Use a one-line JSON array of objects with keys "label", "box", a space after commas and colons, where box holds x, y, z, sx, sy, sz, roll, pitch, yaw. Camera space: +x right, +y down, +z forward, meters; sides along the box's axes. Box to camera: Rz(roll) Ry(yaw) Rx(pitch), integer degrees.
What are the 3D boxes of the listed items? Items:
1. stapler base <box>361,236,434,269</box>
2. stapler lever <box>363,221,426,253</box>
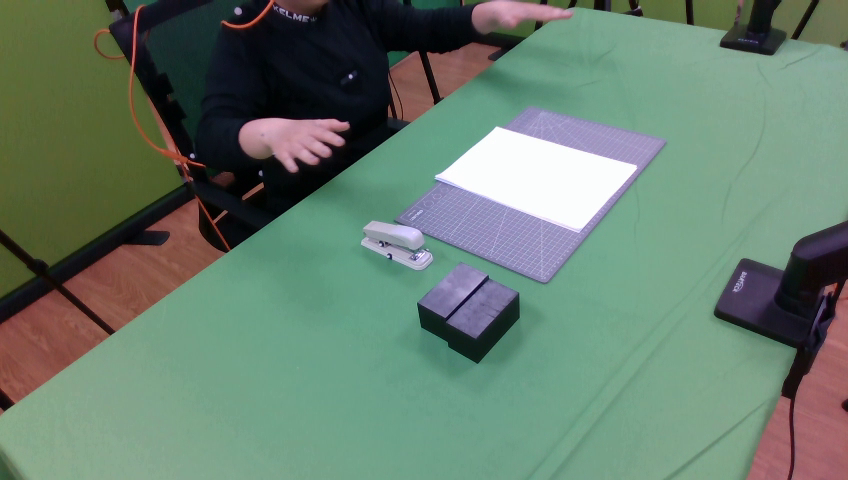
[{"label": "stapler base", "box": [-0.044, 0.009, 0.974, 0.129, 0.024, 0.041, 21, 46, 32]}, {"label": "stapler lever", "box": [-0.048, -0.011, 0.958, 0.117, 0.040, 0.027, 21, 46, 32]}]
